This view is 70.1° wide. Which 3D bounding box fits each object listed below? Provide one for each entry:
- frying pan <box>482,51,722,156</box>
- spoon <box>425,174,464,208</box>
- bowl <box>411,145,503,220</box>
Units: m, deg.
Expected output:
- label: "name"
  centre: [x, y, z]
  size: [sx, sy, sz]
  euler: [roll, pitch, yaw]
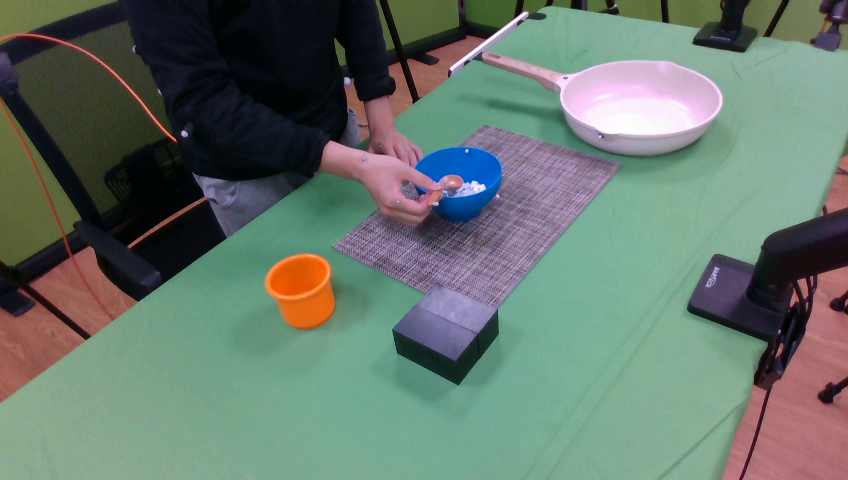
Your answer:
- label: "frying pan"
  centre: [0.326, -0.298, 1.204]
  size: [0.485, 0.103, 0.307]
  euler: [28, 51, 23]
- label: "spoon"
  centre: [0.027, -0.077, 0.924]
  size: [0.041, 0.021, 0.194]
  euler: [8, 15, 12]
- label: "bowl"
  centre: [0.057, -0.086, 1.010]
  size: [0.151, 0.077, 0.150]
  euler: [-4, 40, 4]
